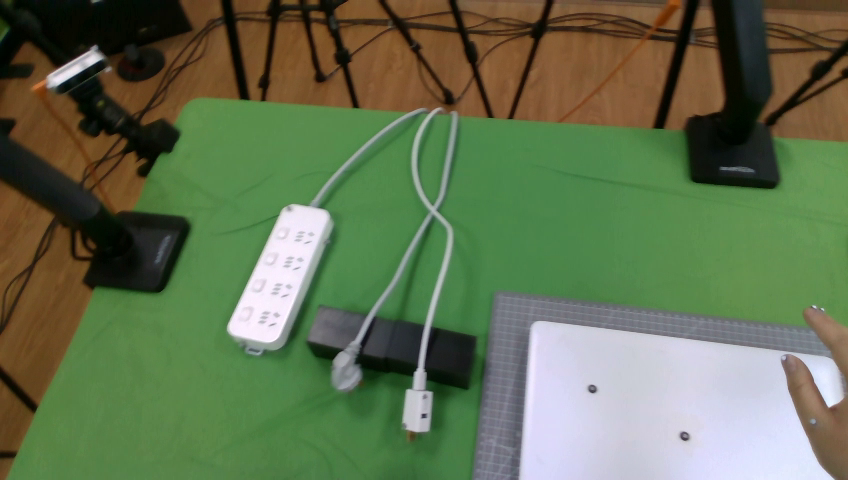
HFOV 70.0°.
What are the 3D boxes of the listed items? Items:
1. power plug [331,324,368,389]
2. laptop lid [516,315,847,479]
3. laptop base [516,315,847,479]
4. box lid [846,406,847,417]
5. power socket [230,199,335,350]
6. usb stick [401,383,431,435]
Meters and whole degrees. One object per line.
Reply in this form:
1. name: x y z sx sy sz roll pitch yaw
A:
1. power plug: -0.078 0.143 0.713 0.072 0.053 0.035 -40 44 -9
2. laptop lid: 0.286 0.211 0.671 0.356 0.013 0.240 8 62 9
3. laptop base: 0.288 0.215 0.682 0.354 0.023 0.234 6 63 8
4. box lid: 0.578 0.341 0.588 0.263 0.015 0.368 6 60 7
5. power socket: -0.187 0.038 0.815 0.072 0.033 0.225 12 60 10
6. usb stick: -0.010 0.194 0.690 0.027 0.022 0.059 6 84 40
